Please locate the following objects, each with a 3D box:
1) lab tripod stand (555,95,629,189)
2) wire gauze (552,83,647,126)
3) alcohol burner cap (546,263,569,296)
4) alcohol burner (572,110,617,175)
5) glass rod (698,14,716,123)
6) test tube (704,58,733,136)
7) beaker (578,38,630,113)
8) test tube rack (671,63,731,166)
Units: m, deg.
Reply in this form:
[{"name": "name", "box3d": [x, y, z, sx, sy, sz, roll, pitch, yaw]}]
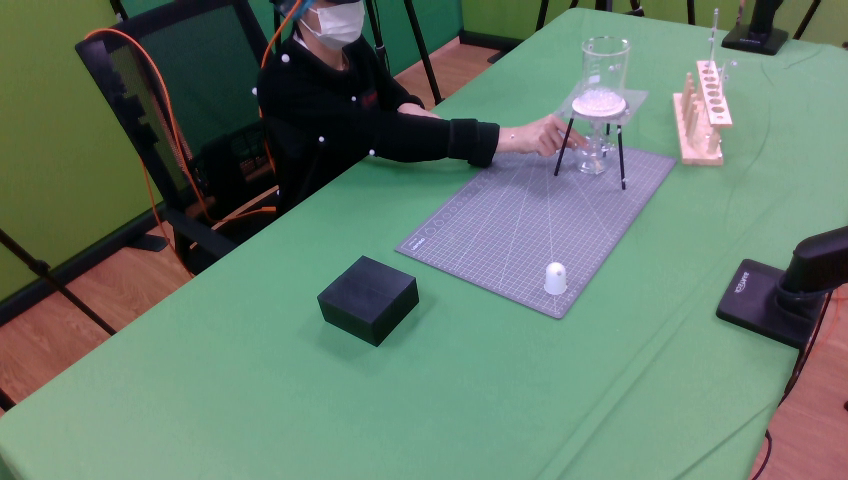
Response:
[{"name": "lab tripod stand", "box3d": [0.301, -0.175, 1.045, 0.148, 0.132, 0.147, -6, 38, 5]}, {"name": "wire gauze", "box3d": [0.293, -0.224, 1.004, 0.120, 0.011, 0.125, 19, 43, 26]}, {"name": "alcohol burner cap", "box3d": [0.191, 0.053, 0.862, 0.034, 0.048, 0.033, -5, 40, 4]}, {"name": "alcohol burner", "box3d": [0.301, -0.175, 1.061, 0.078, 0.119, 0.077, -4, 41, 4]}, {"name": "glass rod", "box3d": [0.531, -0.320, 1.136, 0.008, 0.200, 0.008, 3, 12, 0]}, {"name": "test tube", "box3d": [0.516, -0.247, 1.062, 0.017, 0.151, 0.017, -3, 43, 4]}, {"name": "beaker", "box3d": [0.290, -0.265, 0.976, 0.084, 0.101, 0.073, -18, 41, -14]}, {"name": "test tube rack", "box3d": [0.513, -0.241, 1.132, 0.066, 0.085, 0.242, 4, 41, 14]}]
